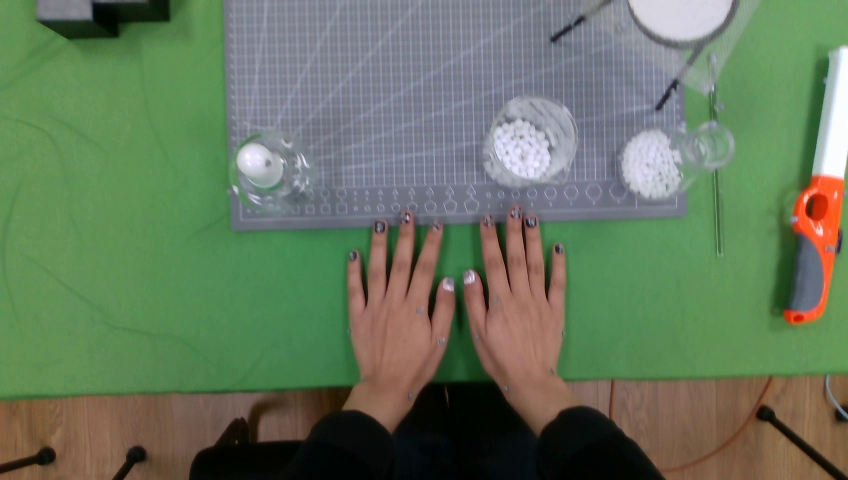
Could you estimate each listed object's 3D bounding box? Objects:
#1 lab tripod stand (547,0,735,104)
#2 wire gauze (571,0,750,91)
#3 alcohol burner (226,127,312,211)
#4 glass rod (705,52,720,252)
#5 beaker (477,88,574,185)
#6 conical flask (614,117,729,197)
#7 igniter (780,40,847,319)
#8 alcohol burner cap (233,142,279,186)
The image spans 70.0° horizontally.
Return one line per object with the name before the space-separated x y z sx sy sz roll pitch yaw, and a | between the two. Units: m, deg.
lab tripod stand | 0.195 -0.198 0.535 0.148 0.131 0.148 0 92 0
wire gauze | 0.193 -0.199 0.468 0.125 0.011 0.121 30 92 -1
alcohol burner | -0.141 -0.064 0.537 0.078 0.119 0.078 0 92 0
glass rod | 0.287 -0.088 0.605 0.008 0.008 0.199 -3 91 -2
beaker | 0.089 -0.086 0.551 0.074 0.100 0.084 -38 92 0
conical flask | 0.225 -0.079 0.544 0.075 0.122 0.075 0 90 -1
igniter | 0.392 -0.057 0.599 0.057 0.025 0.276 9 91 -12
alcohol burner cap | -0.140 -0.066 0.501 0.034 0.048 0.034 0 84 -4
